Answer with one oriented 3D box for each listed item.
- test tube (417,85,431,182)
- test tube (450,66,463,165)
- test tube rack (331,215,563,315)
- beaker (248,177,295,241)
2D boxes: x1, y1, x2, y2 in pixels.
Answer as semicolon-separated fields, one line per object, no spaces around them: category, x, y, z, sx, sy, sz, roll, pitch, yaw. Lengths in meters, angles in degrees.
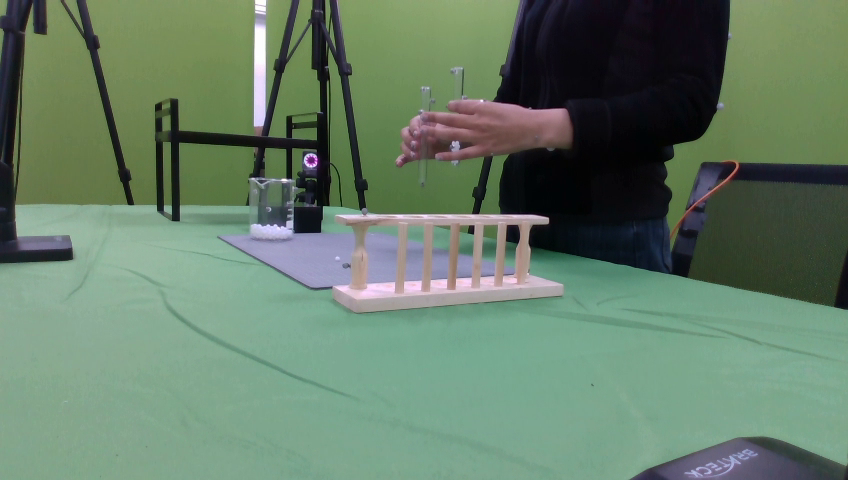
test tube;0.000;-0.166;0.949;0.017;0.150;0.017;3;16;0
test tube;0.050;-0.191;0.932;0.017;0.150;0.017;1;16;0
test tube rack;0.031;0.019;0.625;0.243;0.085;0.066;-1;9;-28
beaker;-0.252;-0.051;0.992;0.074;0.100;0.084;3;9;6
